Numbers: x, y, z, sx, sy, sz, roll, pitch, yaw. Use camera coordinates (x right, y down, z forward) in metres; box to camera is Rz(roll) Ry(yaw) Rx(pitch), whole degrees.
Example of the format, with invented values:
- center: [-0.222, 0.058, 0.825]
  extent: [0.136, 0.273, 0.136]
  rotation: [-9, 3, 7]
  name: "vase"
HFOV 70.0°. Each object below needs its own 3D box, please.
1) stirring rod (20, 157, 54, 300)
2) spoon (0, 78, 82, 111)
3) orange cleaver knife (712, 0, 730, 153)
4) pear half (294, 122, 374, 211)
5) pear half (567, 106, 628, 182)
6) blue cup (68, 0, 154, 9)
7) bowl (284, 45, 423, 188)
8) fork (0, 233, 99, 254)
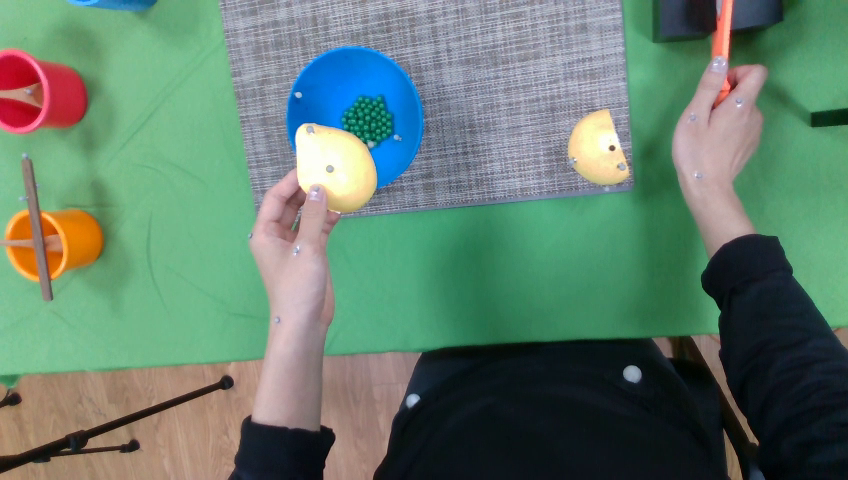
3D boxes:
- center: [-0.471, -0.012, 0.737]
  extent: [0.014, 0.006, 0.176]
  rotation: [-1, 101, 9]
  name: "stirring rod"
- center: [-0.520, -0.176, 0.722]
  extent: [0.195, 0.021, 0.042]
  rotation: [-6, 103, -31]
  name: "spoon"
- center: [0.286, -0.188, 0.585]
  extent: [0.012, 0.076, 0.213]
  rotation: [-2, 127, 20]
  name: "orange cleaver knife"
- center: [-0.078, -0.067, 0.534]
  extent: [0.070, 0.031, 0.089]
  rotation: [-48, 117, -21]
  name: "pear half"
- center: [0.173, -0.092, 0.610]
  extent: [0.056, 0.110, 0.076]
  rotation: [-25, 90, 15]
  name: "pear half"
- center: [-0.355, -0.303, 0.686]
  extent: [0.092, 0.100, 0.093]
  rotation: [2, 102, 10]
  name: "blue cup"
- center: [-0.068, -0.132, 0.668]
  extent: [0.151, 0.077, 0.152]
  rotation: [2, 101, 12]
  name: "bowl"
- center: [-0.521, 0.000, 0.751]
  extent: [0.209, 0.018, 0.028]
  rotation: [4, 114, -34]
  name: "fork"
